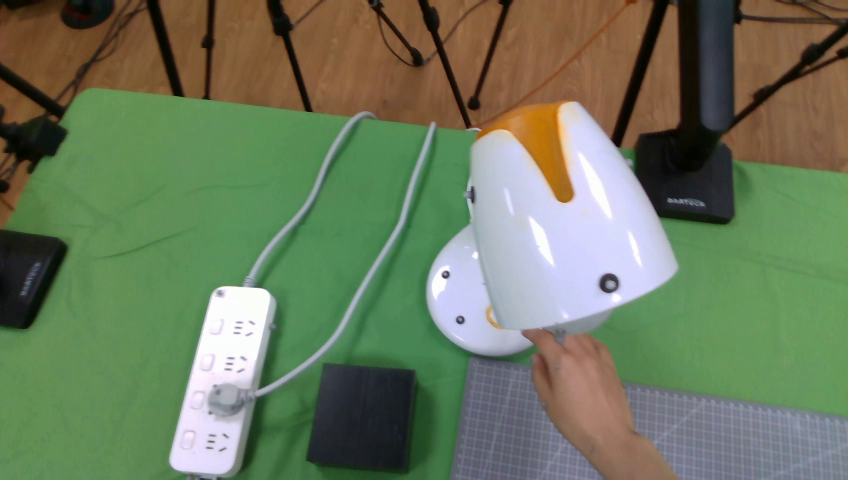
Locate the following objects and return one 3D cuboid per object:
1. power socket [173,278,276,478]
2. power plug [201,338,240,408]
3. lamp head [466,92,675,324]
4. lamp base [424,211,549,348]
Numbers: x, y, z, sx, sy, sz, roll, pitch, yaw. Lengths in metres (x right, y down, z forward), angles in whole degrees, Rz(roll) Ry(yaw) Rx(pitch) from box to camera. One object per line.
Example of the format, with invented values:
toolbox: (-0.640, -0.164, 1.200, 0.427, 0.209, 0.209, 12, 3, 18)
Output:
power socket: (-0.223, 0.148, 0.687, 0.072, 0.033, 0.225, 4, 65, 3)
power plug: (-0.222, 0.147, 0.663, 0.035, 0.053, 0.072, -5, 58, -17)
lamp head: (0.075, -0.025, 0.364, 0.112, 0.112, 0.123, -21, 89, -7)
lamp base: (0.072, 0.008, 0.657, 0.161, 0.182, 0.177, -18, 63, -6)
